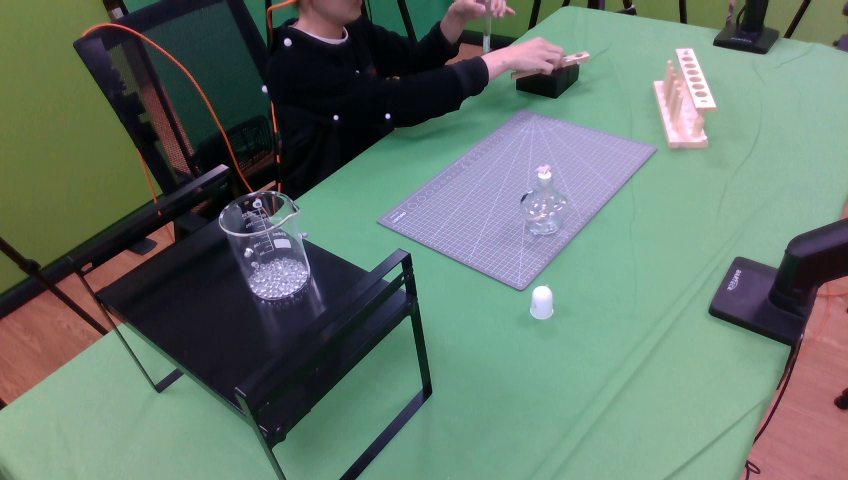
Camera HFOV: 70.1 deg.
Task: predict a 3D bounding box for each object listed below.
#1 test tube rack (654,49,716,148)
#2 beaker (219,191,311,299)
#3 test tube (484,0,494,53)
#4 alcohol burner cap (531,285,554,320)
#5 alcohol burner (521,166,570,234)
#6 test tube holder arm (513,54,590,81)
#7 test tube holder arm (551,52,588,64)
[{"bbox_3d":[0.502,-0.281,1.176,0.066,0.085,0.241,2,41,11],"label":"test tube rack"},{"bbox_3d":[-0.164,0.008,0.654,0.084,0.101,0.073,-10,41,-3],"label":"beaker"},{"bbox_3d":[0.139,-0.473,1.291,0.017,0.151,0.017,-1,39,1],"label":"test tube"},{"bbox_3d":[0.164,0.084,0.838,0.034,0.048,0.033,-4,40,4],"label":"alcohol burner cap"},{"bbox_3d":[0.192,-0.068,0.951,0.078,0.119,0.077,-4,42,4],"label":"alcohol burner"},{"bbox_3d":[0.274,-0.370,1.294,0.179,0.015,0.013,-18,50,-11],"label":"test tube holder arm"},{"bbox_3d":[0.314,-0.388,1.305,0.088,0.015,0.010,-17,50,-10],"label":"test tube holder arm"}]
